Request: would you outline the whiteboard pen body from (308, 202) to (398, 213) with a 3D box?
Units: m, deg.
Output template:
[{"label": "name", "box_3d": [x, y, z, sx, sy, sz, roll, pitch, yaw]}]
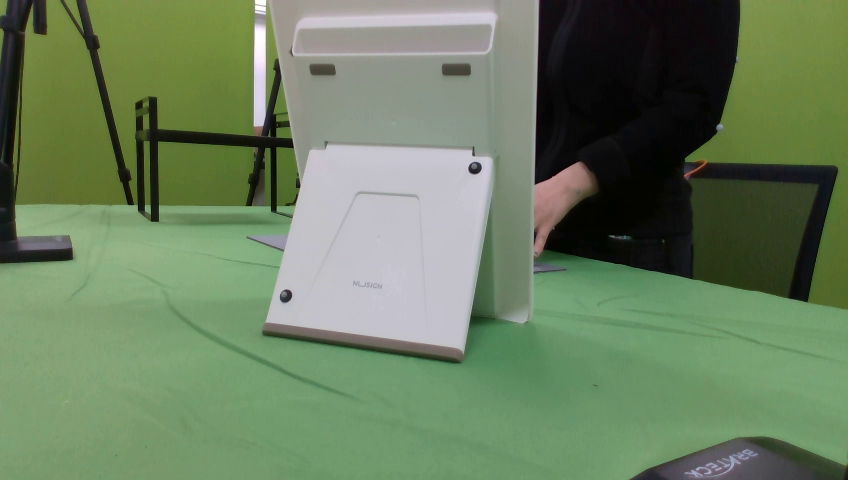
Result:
[{"label": "whiteboard pen body", "box_3d": [-0.108, -0.050, 0.933, 0.141, 0.017, 0.017, -3, 9, -18]}]

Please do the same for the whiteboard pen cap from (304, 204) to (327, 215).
[{"label": "whiteboard pen cap", "box_3d": [-0.163, -0.046, 0.911, 0.033, 0.018, 0.018, -3, 9, -20]}]

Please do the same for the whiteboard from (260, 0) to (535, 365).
[{"label": "whiteboard", "box_3d": [-0.037, -0.041, 0.457, 0.216, 0.305, 0.144, 5, 28, 19]}]
